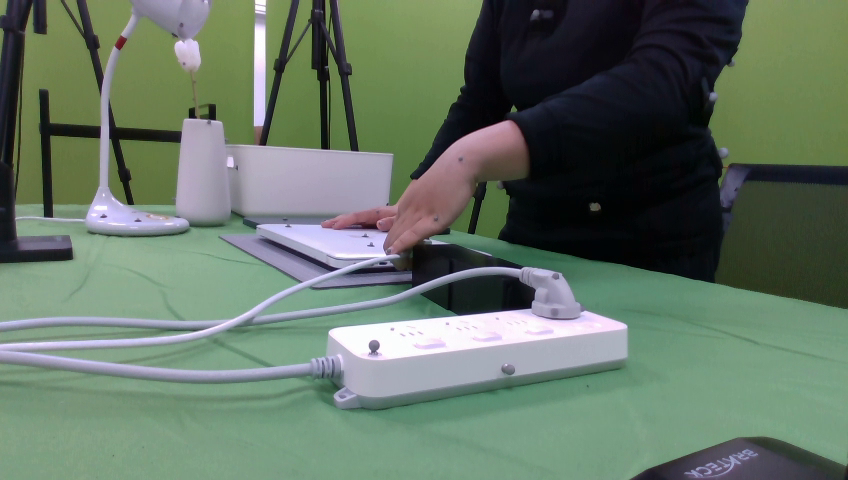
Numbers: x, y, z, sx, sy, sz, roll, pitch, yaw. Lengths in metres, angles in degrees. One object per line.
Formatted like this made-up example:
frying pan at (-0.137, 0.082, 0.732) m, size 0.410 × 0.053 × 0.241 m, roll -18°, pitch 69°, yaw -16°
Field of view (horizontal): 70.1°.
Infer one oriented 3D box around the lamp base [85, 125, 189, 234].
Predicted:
lamp base at (-0.498, -0.105, 1.026) m, size 0.179 × 0.180 × 0.160 m, roll 1°, pitch 7°, yaw 3°

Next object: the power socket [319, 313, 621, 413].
power socket at (0.038, 0.075, 0.409) m, size 0.228 × 0.032 × 0.072 m, roll -2°, pitch 8°, yaw -28°

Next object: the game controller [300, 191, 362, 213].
game controller at (-0.241, -0.098, 1.549) m, size 0.155 × 0.051 × 0.097 m, roll 2°, pitch 8°, yaw 5°

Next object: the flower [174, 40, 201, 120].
flower at (-0.430, -0.211, 1.165) m, size 0.044 × 0.361 × 0.038 m, roll -10°, pitch -5°, yaw -23°

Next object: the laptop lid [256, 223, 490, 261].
laptop lid at (-0.093, 0.000, 0.911) m, size 0.243 × 0.013 × 0.355 m, roll 2°, pitch 7°, yaw -30°

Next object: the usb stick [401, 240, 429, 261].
usb stick at (-0.009, 0.011, 0.712) m, size 0.027 × 0.021 × 0.059 m, roll 3°, pitch 5°, yaw 11°

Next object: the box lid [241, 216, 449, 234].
box lid at (-0.162, -0.030, 1.233) m, size 0.373 × 0.015 × 0.262 m, roll -1°, pitch 8°, yaw -32°

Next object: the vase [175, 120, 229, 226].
vase at (-0.425, -0.128, 1.158) m, size 0.098 × 0.200 × 0.098 m, roll 2°, pitch 9°, yaw 0°

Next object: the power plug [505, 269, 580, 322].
power plug at (0.092, 0.051, 0.469) m, size 0.035 × 0.052 × 0.072 m, roll -1°, pitch 6°, yaw -15°

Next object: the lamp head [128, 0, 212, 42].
lamp head at (-0.423, -0.394, 0.980) m, size 0.123 × 0.112 × 0.112 m, roll 20°, pitch 7°, yaw -3°

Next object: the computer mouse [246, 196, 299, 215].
computer mouse at (-0.355, -0.082, 1.417) m, size 0.117 × 0.041 × 0.063 m, roll 1°, pitch 9°, yaw 7°

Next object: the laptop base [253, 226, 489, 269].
laptop base at (-0.096, 0.011, 0.911) m, size 0.237 × 0.023 × 0.352 m, roll 3°, pitch 6°, yaw -32°

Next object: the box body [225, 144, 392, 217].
box body at (-0.289, -0.143, 1.474) m, size 0.366 × 0.160 × 0.253 m, roll -1°, pitch 9°, yaw -29°
